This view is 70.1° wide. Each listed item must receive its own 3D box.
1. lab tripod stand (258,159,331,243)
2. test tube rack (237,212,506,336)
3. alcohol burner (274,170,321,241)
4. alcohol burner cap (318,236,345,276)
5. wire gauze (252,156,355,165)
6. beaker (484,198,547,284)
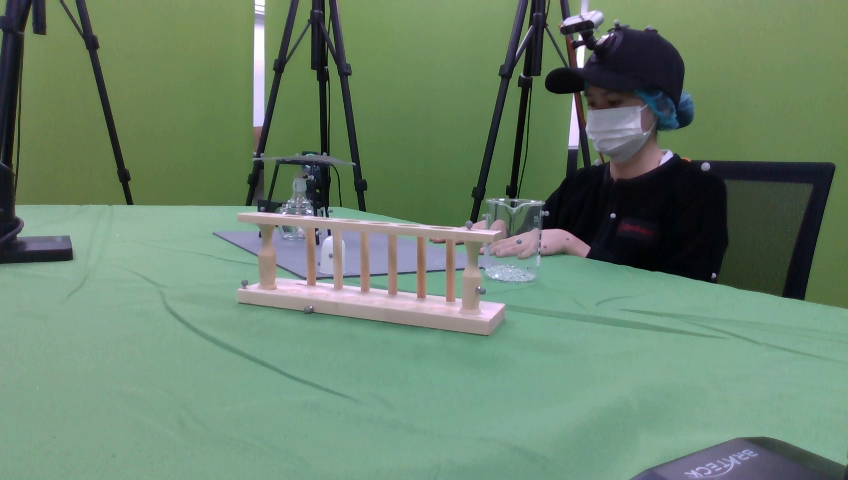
[{"bbox_3d":[-0.202,-0.067,1.011,0.148,0.131,0.148,2,5,0],"label":"lab tripod stand"},{"bbox_3d":[-0.049,0.024,0.552,0.242,0.085,0.067,5,8,18],"label":"test tube rack"},{"bbox_3d":[-0.211,-0.058,1.015,0.078,0.119,0.078,4,5,0],"label":"alcohol burner"},{"bbox_3d":[-0.110,0.019,0.723,0.034,0.048,0.034,3,6,0],"label":"alcohol burner cap"},{"bbox_3d":[-0.196,-0.133,0.999,0.121,0.011,0.125,4,5,22],"label":"wire gauze"},{"bbox_3d":[0.111,0.000,0.744,0.074,0.100,0.084,3,8,9],"label":"beaker"}]
